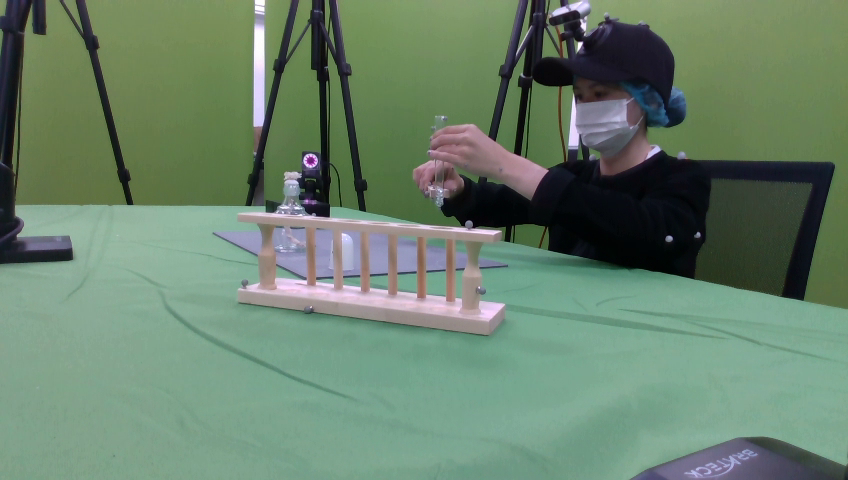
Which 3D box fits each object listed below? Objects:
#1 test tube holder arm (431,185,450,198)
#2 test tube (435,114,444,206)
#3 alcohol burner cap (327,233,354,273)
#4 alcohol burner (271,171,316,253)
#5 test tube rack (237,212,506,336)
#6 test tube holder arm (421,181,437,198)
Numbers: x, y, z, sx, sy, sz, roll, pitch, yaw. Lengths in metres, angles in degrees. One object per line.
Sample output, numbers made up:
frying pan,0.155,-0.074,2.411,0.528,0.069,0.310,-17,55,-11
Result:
test tube holder arm,0.023,-0.084,1.039,0.010,0.015,0.087,1,11,-23
test tube,0.026,-0.130,0.991,0.017,0.150,0.017,0,11,0
alcohol burner cap,-0.104,0.015,0.752,0.034,0.048,0.034,3,6,0
alcohol burner,-0.196,-0.041,0.884,0.078,0.119,0.078,3,5,0
test tube rack,-0.049,0.024,0.552,0.242,0.085,0.067,5,8,18
test tube holder arm,0.008,-0.093,1.080,0.013,0.015,0.178,5,10,-8
